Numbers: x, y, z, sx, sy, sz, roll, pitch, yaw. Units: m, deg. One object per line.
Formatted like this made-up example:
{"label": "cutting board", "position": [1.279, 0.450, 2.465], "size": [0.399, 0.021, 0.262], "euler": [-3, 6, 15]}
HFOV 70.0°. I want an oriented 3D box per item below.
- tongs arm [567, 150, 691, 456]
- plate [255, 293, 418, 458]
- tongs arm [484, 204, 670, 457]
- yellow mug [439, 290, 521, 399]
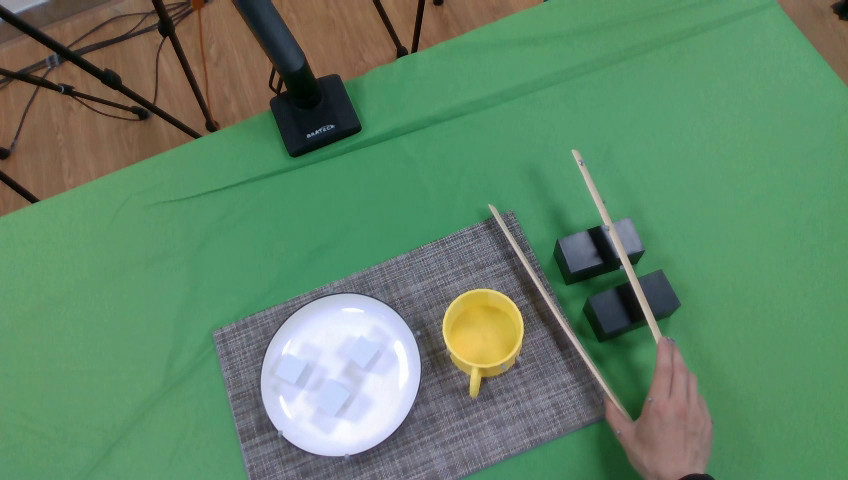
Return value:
{"label": "tongs arm", "position": [0.238, 0.064, 0.739], "size": [0.051, 0.027, 0.382], "euler": [-28, 69, 22]}
{"label": "plate", "position": [-0.109, 0.172, 0.778], "size": [0.207, 0.039, 0.206], "euler": [-2, 68, 5]}
{"label": "tongs arm", "position": [0.180, 0.101, 0.768], "size": [0.028, 0.028, 0.384], "euler": [-38, 65, 15]}
{"label": "yellow mug", "position": [0.068, 0.134, 0.759], "size": [0.100, 0.064, 0.130], "euler": [8, 69, 8]}
